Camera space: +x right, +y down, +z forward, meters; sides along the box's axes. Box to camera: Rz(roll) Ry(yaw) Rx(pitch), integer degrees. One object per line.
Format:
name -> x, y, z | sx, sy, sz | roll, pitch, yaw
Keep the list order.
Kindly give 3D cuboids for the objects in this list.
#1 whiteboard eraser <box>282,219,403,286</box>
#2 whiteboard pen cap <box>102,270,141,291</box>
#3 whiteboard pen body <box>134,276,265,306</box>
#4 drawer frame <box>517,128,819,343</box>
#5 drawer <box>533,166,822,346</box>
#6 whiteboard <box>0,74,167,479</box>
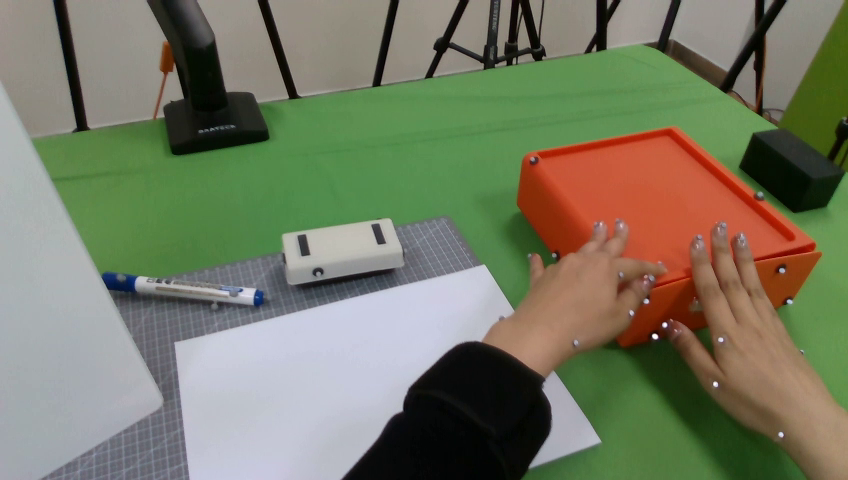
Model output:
whiteboard eraser -> -0.080, 0.014, 0.593 | 0.113, 0.042, 0.055 | -10, 41, -14
whiteboard pen cap -> -0.278, 0.038, 0.561 | 0.033, 0.018, 0.018 | 6, 41, -3
whiteboard pen body -> -0.219, 0.046, 0.562 | 0.141, 0.017, 0.017 | 6, 41, -1
drawer frame -> 0.231, -0.015, 0.617 | 0.202, 0.083, 0.211 | -13, 43, -15
drawer -> 0.235, -0.008, 0.611 | 0.195, 0.074, 0.209 | -11, 41, -14
whiteboard -> -0.355, 0.028, 0.406 | 0.217, 0.308, 0.142 | -30, 31, -31
